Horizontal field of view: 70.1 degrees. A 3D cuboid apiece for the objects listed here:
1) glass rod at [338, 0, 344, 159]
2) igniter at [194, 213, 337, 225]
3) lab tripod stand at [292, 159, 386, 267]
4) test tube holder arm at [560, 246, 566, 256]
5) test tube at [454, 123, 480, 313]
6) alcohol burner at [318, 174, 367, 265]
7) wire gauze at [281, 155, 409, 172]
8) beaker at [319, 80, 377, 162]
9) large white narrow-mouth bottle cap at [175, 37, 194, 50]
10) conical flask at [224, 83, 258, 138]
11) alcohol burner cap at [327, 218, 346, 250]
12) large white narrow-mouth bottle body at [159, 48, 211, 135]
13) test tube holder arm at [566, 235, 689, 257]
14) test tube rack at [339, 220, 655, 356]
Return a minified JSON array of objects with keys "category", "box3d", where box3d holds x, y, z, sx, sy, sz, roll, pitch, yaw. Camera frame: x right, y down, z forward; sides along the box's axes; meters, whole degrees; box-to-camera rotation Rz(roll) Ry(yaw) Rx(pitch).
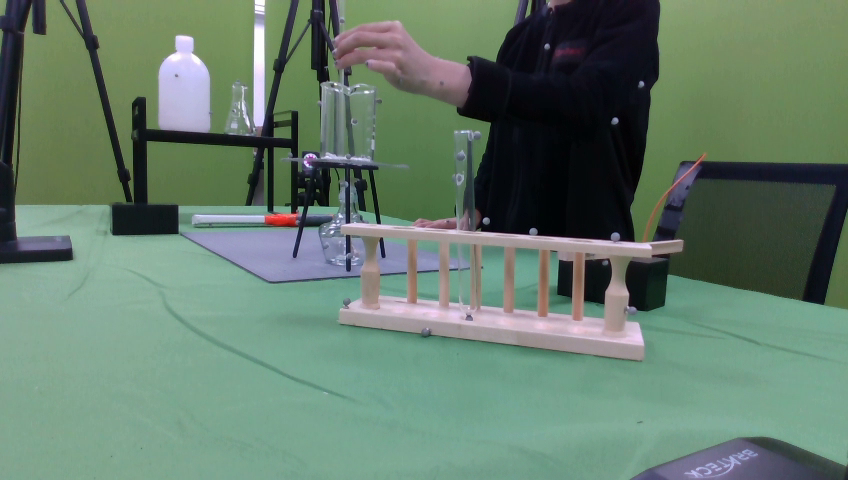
[{"category":"glass rod","box3d":[-0.103,-0.201,0.749,0.008,0.199,0.008,1,7,0]},{"category":"igniter","box3d":[-0.306,-0.042,1.196,0.278,0.025,0.057,-2,-2,-31]},{"category":"lab tripod stand","box3d":[-0.105,-0.039,0.797,0.148,0.131,0.148,2,5,0]},{"category":"test tube holder arm","box3d":[0.173,0.007,0.611,0.088,0.015,0.010,-3,11,-29]},{"category":"test tube","box3d":[0.034,-0.016,0.476,0.017,0.150,0.017,-2,9,1]},{"category":"alcohol burner","box3d":[-0.100,-0.028,0.790,0.078,0.119,0.078,0,6,0]},{"category":"wire gauze","box3d":[-0.104,-0.103,0.785,0.126,0.011,0.121,1,8,-38]},{"category":"beaker","box3d":[-0.098,-0.151,0.777,0.074,0.100,0.084,1,7,-8]},{"category":"large white narrow-mouth bottle cap","box3d":[-0.501,-0.409,1.264,0.038,0.024,0.037,2,7,0]},{"category":"conical flask","box3d":[-0.422,-0.299,1.395,0.075,0.122,0.075,2,7,0]},{"category":"alcohol burner cap","box3d":[-0.132,-0.010,0.927,0.034,0.048,0.034,3,8,0]},{"category":"large white narrow-mouth bottle body","box3d":[-0.503,-0.322,1.275,0.102,0.194,0.102,2,7,0]},{"category":"test tube holder arm","box3d":[0.216,0.006,0.629,0.179,0.015,0.013,-3,11,-30]},{"category":"test tube rack","box3d":[0.056,0.032,0.495,0.242,0.085,0.067,4,7,15]}]
